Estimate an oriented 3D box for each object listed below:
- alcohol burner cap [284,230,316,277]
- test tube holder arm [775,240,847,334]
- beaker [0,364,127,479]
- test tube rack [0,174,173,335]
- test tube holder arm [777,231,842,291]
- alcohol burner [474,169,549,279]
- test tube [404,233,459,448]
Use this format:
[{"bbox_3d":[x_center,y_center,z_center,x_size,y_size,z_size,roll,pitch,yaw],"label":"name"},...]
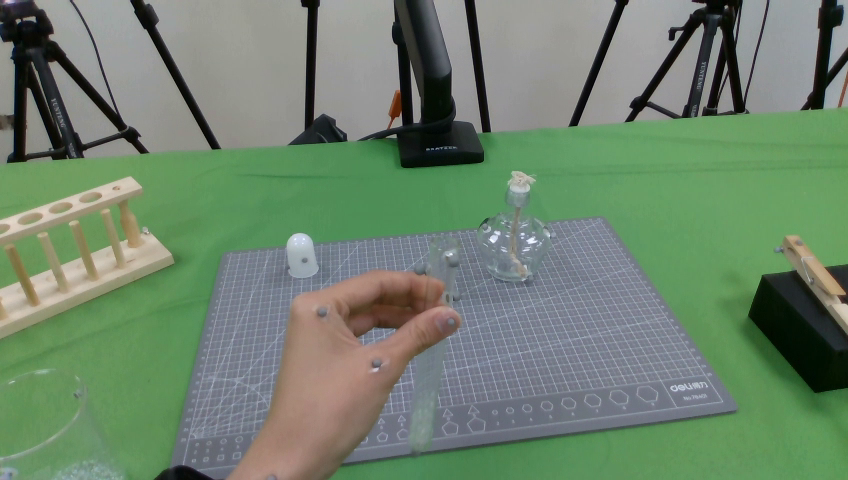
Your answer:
[{"bbox_3d":[-0.134,0.012,0.643,0.034,0.048,0.033,-1,35,1],"label":"alcohol burner cap"},{"bbox_3d":[0.347,0.051,0.515,0.015,0.013,0.177,0,35,1],"label":"test tube holder arm"},{"bbox_3d":[-0.255,0.146,0.411,0.084,0.101,0.073,-1,35,2],"label":"beaker"},{"bbox_3d":[-0.390,0.023,0.603,0.242,0.086,0.066,-28,43,-33],"label":"test tube rack"},{"bbox_3d":[0.348,0.020,0.549,0.015,0.010,0.087,0,36,1],"label":"test tube holder arm"},{"bbox_3d":[0.091,-0.020,0.620,0.078,0.120,0.077,1,35,0],"label":"alcohol burner"},{"bbox_3d":[0.003,0.064,0.349,0.017,0.151,0.017,6,29,-3],"label":"test tube"}]
